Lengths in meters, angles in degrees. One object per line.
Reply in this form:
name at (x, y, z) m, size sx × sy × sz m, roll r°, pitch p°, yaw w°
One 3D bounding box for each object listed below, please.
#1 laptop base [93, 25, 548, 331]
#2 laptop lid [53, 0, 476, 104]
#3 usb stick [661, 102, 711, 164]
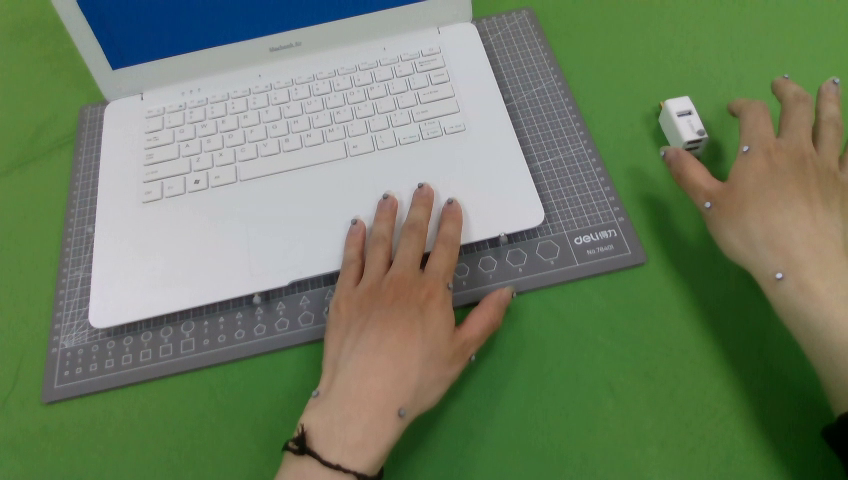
laptop base at (-0.097, -0.065, 0.516) m, size 0.354 × 0.023 × 0.233 m, roll -13°, pitch 62°, yaw -2°
laptop lid at (-0.139, -0.249, 0.499) m, size 0.357 × 0.244 × 0.013 m, roll -14°, pitch 41°, yaw -1°
usb stick at (0.211, -0.093, 0.495) m, size 0.021 × 0.027 × 0.058 m, roll -11°, pitch 55°, yaw 1°
